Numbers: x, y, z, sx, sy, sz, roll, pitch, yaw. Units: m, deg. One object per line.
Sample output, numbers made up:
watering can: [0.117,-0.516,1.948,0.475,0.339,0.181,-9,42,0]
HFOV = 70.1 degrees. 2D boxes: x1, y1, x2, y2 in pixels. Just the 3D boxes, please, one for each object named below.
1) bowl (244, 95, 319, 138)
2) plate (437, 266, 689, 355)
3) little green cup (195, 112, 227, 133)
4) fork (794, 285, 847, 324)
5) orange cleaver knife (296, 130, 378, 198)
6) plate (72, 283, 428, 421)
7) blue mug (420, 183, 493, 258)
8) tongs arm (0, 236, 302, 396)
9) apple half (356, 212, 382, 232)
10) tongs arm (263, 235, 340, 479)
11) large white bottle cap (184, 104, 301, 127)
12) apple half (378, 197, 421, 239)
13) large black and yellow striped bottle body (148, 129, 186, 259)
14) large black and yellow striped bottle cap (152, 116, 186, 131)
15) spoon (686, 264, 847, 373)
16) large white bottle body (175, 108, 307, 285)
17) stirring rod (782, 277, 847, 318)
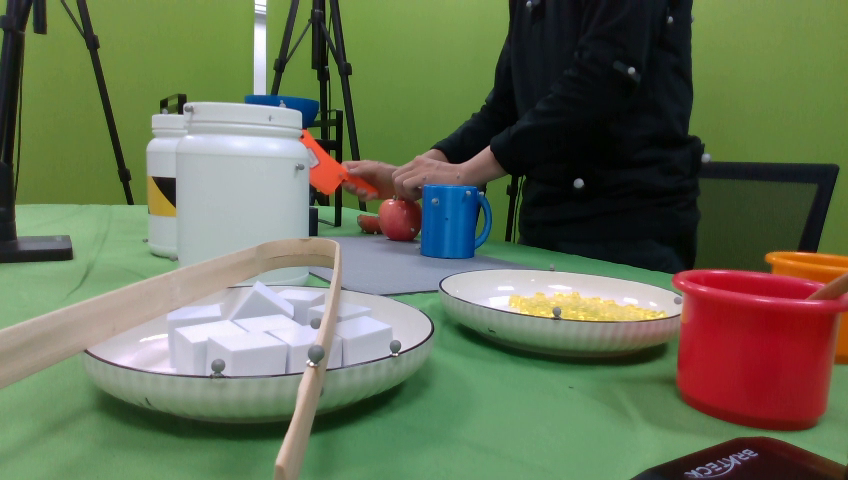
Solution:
bowl: [-0.293,-0.251,1.249,0.151,0.077,0.151,2,8,0]
plate: [0.114,0.057,0.518,0.209,0.038,0.209,3,8,0]
little green cup: [-0.412,-0.227,1.171,0.061,0.038,0.061,3,8,0]
fork: [0.332,0.018,0.442,0.028,0.018,0.207,0,-36,-15]
orange cleaver knife: [-0.181,-0.125,1.141,0.212,0.077,0.012,35,-10,-29]
plate: [-0.102,0.066,0.381,0.208,0.039,0.207,2,7,0]
blue mug: [0.052,-0.032,0.912,0.117,0.106,0.082,-1,8,-24]
tongs arm: [-0.158,0.038,0.351,0.028,0.028,0.388,-3,8,12]
apple half: [-0.095,-0.031,1.167,0.081,0.033,0.081,9,-5,1]
tongs arm: [-0.074,0.039,0.349,0.051,0.026,0.384,-2,10,-3]
large white bottle cap: [-0.184,-0.126,0.618,0.115,0.018,0.115,2,8,0]
apple half: [-0.036,-0.037,1.056,0.081,0.074,0.053,3,10,-27]
large black and yellow striped bottle body: [-0.310,-0.073,0.838,0.131,0.184,0.130,2,8,0]
large black and yellow striped bottle cap: [-0.309,-0.155,0.826,0.115,0.019,0.115,3,6,0]
spoon: [0.214,0.032,0.328,0.042,0.021,0.193,-3,-35,-26]
large white bottle body: [-0.188,-0.042,0.630,0.131,0.184,0.130,2,8,0]
stirring rod: [0.344,0.019,0.460,0.014,0.006,0.176,-13,-27,-30]
